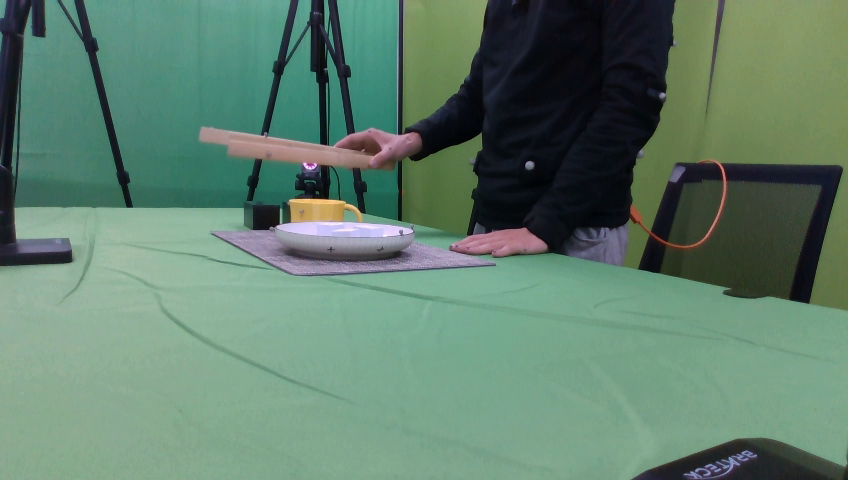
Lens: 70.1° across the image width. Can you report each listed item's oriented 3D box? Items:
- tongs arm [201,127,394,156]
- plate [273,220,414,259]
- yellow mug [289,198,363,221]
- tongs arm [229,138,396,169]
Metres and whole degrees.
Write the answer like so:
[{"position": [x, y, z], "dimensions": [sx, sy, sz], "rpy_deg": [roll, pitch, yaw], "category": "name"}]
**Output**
[{"position": [-0.221, -0.172, 1.142], "dimensions": [0.387, 0.026, 0.050], "rpy_deg": [1, 14, -43], "category": "tongs arm"}, {"position": [-0.118, -0.001, 0.903], "dimensions": [0.208, 0.039, 0.207], "rpy_deg": [3, 7, 0], "category": "plate"}, {"position": [-0.174, -0.039, 1.072], "dimensions": [0.131, 0.064, 0.100], "rpy_deg": [3, 7, 0], "category": "yellow mug"}, {"position": [-0.180, -0.154, 1.100], "dimensions": [0.028, 0.028, 0.390], "rpy_deg": [15, 11, 39], "category": "tongs arm"}]
